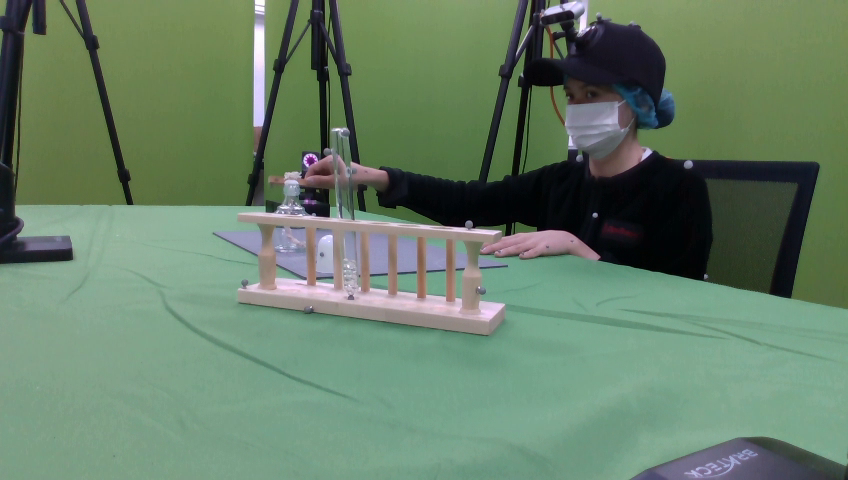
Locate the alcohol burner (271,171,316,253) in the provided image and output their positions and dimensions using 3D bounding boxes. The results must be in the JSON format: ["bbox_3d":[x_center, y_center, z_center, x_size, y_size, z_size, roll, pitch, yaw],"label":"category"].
[{"bbox_3d":[-0.196,-0.041,0.884,0.078,0.119,0.078,3,5,0],"label":"alcohol burner"}]

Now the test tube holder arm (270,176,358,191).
[{"bbox_3d":[-0.218,-0.113,1.212,0.179,0.015,0.013,3,5,-26],"label":"test tube holder arm"}]

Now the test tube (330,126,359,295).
[{"bbox_3d":[-0.070,-0.024,0.533,0.017,0.150,0.017,-3,10,1],"label":"test tube"}]

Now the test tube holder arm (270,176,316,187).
[{"bbox_3d":[-0.257,-0.115,1.187,0.088,0.015,0.010,4,5,-25],"label":"test tube holder arm"}]

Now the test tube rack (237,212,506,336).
[{"bbox_3d":[-0.049,0.024,0.552,0.242,0.085,0.067,5,8,18],"label":"test tube rack"}]

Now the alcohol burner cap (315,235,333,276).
[{"bbox_3d":[-0.116,0.018,0.728,0.034,0.048,0.034,3,6,0],"label":"alcohol burner cap"}]
